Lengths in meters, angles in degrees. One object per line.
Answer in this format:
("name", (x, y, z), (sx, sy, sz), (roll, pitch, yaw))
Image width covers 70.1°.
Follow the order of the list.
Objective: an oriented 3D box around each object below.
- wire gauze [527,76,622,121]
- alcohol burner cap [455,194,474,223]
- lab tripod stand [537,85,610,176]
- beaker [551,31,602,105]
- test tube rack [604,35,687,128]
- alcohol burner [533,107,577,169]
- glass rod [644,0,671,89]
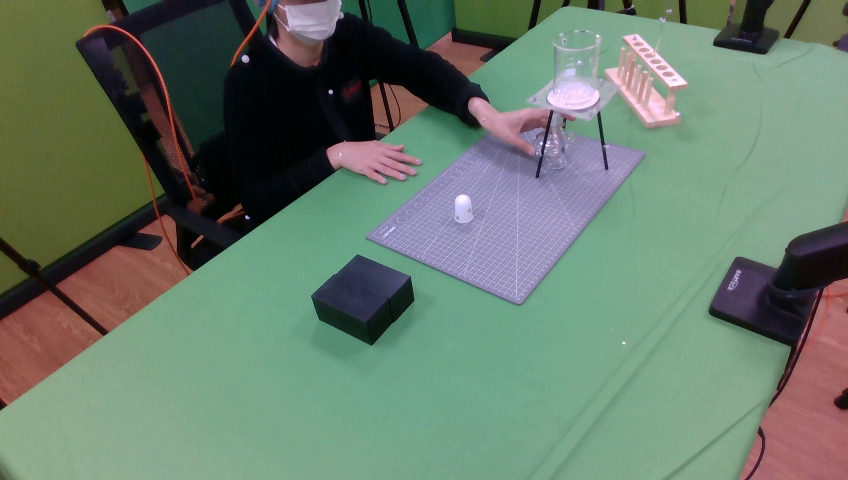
("wire gauze", (0.255, -0.247, 1.031), (0.124, 0.011, 0.122), (23, 49, 34))
("alcohol burner cap", (0.066, -0.054, 1.006), (0.034, 0.048, 0.033), (-5, 40, 4))
("lab tripod stand", (0.259, -0.192, 1.068), (0.148, 0.132, 0.147), (-4, 43, 4))
("beaker", (0.252, -0.282, 0.998), (0.084, 0.101, 0.073), (-16, 42, -7))
("test tube rack", (0.447, -0.330, 1.241), (0.067, 0.085, 0.241), (-9, 41, -2))
("alcohol burner", (0.234, -0.188, 1.082), (0.078, 0.120, 0.077), (-6, 41, 6))
("glass rod", (0.463, -0.387, 1.204), (0.008, 0.200, 0.008), (0, 47, 1))
